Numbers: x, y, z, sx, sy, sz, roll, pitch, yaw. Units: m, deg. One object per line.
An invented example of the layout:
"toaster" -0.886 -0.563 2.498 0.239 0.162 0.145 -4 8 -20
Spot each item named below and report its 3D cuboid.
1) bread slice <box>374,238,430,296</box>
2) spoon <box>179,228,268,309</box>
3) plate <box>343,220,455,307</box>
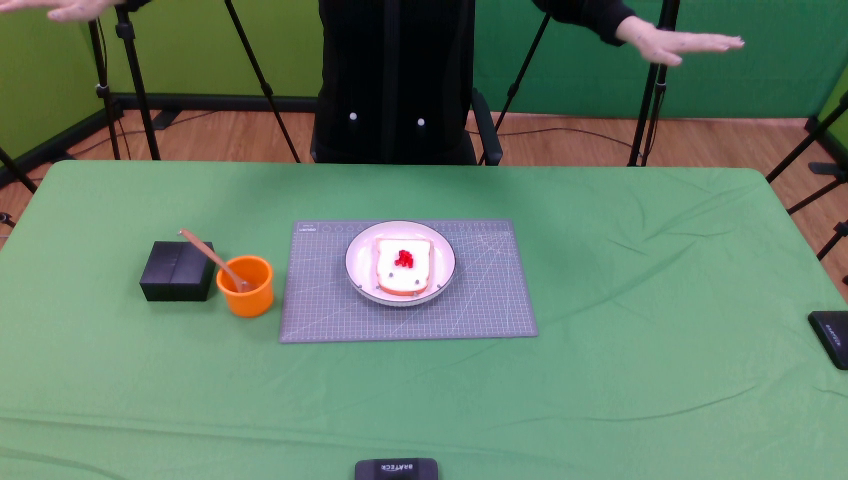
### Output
"bread slice" -0.039 0.048 1.135 0.107 0.018 0.133 -1 47 -4
"spoon" -0.342 0.048 1.037 0.021 0.194 0.041 -19 28 44
"plate" -0.047 0.046 1.135 0.209 0.038 0.208 2 46 -2
